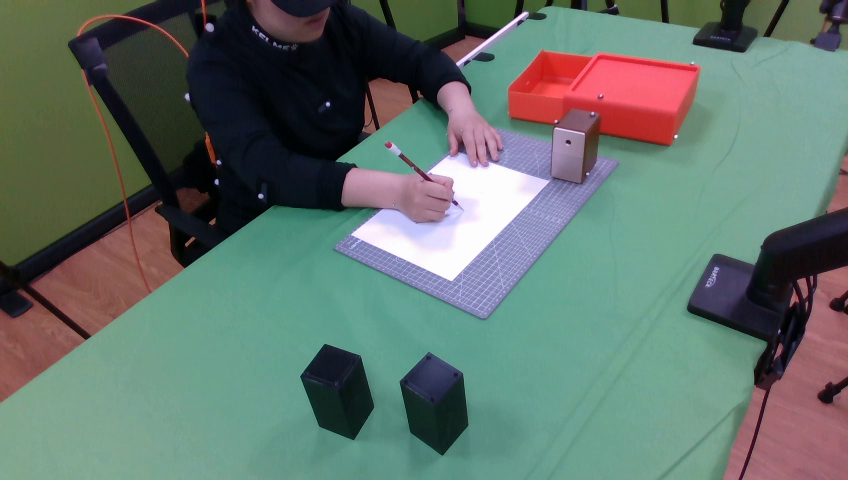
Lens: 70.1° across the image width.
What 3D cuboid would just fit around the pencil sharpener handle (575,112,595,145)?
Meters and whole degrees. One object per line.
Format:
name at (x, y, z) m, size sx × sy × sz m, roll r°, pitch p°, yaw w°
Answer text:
pencil sharpener handle at (0.290, -0.203, 1.077) m, size 0.036 × 0.068 × 0.031 m, roll 19°, pitch 47°, yaw 25°

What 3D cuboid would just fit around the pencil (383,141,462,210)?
pencil at (0.003, -0.099, 0.972) m, size 0.012 × 0.196 × 0.012 m, roll -28°, pitch 43°, yaw 30°

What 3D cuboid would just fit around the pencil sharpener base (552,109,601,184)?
pencil sharpener base at (0.265, -0.163, 1.053) m, size 0.061 × 0.107 × 0.077 m, roll 17°, pitch 46°, yaw 28°

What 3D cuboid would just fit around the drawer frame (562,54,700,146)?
drawer frame at (0.407, -0.282, 1.195) m, size 0.212 × 0.083 × 0.202 m, roll 17°, pitch 45°, yaw 25°

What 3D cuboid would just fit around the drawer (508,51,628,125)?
drawer at (0.305, -0.309, 1.246) m, size 0.210 × 0.073 × 0.195 m, roll 16°, pitch 45°, yaw 25°
